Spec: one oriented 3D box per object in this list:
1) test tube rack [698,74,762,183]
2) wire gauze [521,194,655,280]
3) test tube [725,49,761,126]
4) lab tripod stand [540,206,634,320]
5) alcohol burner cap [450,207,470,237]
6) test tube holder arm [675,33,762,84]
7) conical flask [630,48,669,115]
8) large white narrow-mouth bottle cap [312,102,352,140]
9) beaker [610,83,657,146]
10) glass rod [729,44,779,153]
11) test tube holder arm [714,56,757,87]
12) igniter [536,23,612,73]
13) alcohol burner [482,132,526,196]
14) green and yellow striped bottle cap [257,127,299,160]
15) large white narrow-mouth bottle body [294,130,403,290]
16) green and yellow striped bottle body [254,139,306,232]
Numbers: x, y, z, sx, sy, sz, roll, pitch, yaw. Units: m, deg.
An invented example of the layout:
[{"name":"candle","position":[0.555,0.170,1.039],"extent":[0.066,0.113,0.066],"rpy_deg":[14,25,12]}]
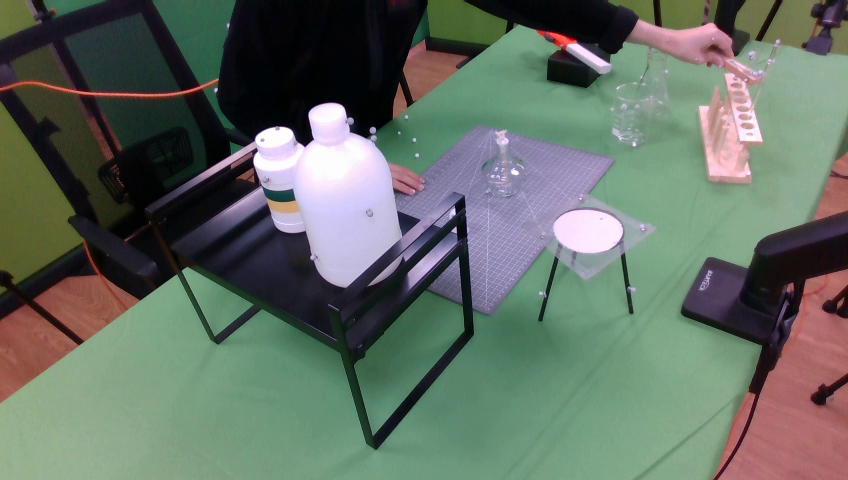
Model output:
[{"name":"test tube rack","position":[0.547,-0.208,1.095],"extent":[0.066,0.085,0.242],"rpy_deg":[5,42,15]},{"name":"wire gauze","position":[0.207,-0.012,0.772],"extent":[0.122,0.011,0.124],"rpy_deg":[-28,44,-20]},{"name":"test tube","position":[0.572,-0.271,1.088],"extent":[0.017,0.151,0.017],"rpy_deg":[-1,44,1]},{"name":"lab tripod stand","position":[0.218,0.034,0.821],"extent":[0.148,0.132,0.147],"rpy_deg":[-4,42,4]},{"name":"alcohol burner cap","position":[0.057,-0.032,0.987],"extent":[0.034,0.048,0.033],"rpy_deg":[-5,41,5]},{"name":"test tube holder arm","position":[0.535,-0.334,1.106],"extent":[0.013,0.015,0.177],"rpy_deg":[-32,57,-21]},{"name":"conical flask","position":[0.457,-0.317,1.205],"extent":[0.075,0.122,0.075],"rpy_deg":[-4,41,4]},{"name":"large white narrow-mouth bottle cap","position":[-0.088,-0.114,0.579],"extent":[0.038,0.024,0.037],"rpy_deg":[-3,39,3]},{"name":"beaker","position":[0.388,-0.235,1.138],"extent":[0.074,0.101,0.083],"rpy_deg":[-31,45,-25]},{"name":"glass rod","position":[0.555,-0.233,1.020],"extent":[0.008,0.200,0.008],"rpy_deg":[2,39,-1]},{"name":"test tube holder arm","position":[0.556,-0.303,1.081],"extent":[0.010,0.015,0.087],"rpy_deg":[-24,55,-15]},{"name":"igniter","position":[0.330,-0.439,1.366],"extent":[0.057,0.025,0.274],"rpy_deg":[-12,40,-20]},{"name":"alcohol burner","position":[0.137,-0.136,1.042],"extent":[0.078,0.119,0.077],"rpy_deg":[-4,43,4]},{"name":"green and yellow striped bottle cap","position":[-0.169,-0.112,0.699],"extent":[0.045,0.020,0.045],"rpy_deg":[-6,40,6]},{"name":"large white narrow-mouth bottle body","position":[-0.081,-0.047,0.634],"extent":[0.102,0.195,0.101],"rpy_deg":[-4,39,3]},{"name":"green and yellow striped bottle body","position":[-0.165,-0.073,0.732],"extent":[0.063,0.120,0.063],"rpy_deg":[-4,41,4]}]
